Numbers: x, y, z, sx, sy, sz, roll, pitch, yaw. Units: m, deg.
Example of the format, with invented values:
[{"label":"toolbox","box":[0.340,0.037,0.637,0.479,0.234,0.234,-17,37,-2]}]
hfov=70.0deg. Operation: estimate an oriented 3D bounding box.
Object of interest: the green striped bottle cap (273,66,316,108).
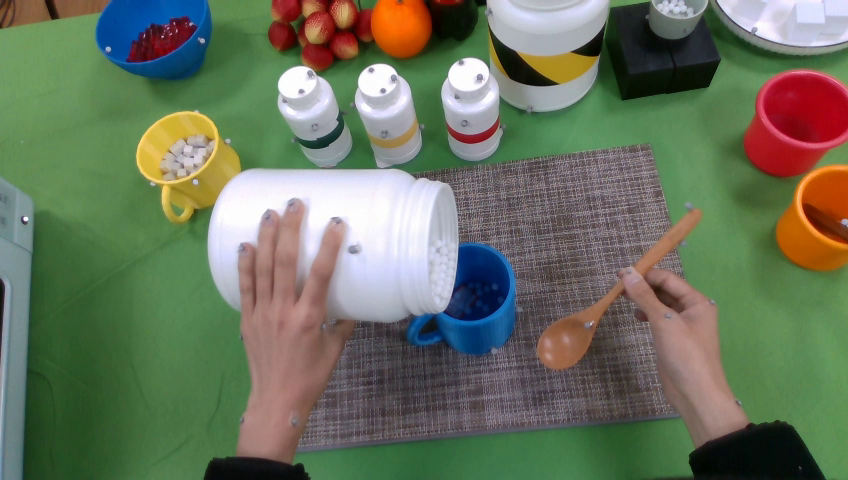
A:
[{"label":"green striped bottle cap","box":[-0.140,-0.166,0.653,0.044,0.020,0.044,-2,65,5]}]

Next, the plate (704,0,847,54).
[{"label":"plate","box":[0.445,-0.307,0.742,0.209,0.038,0.207,-3,67,6]}]

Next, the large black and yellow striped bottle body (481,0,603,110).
[{"label":"large black and yellow striped bottle body","box":[0.130,-0.249,0.677,0.130,0.185,0.130,-3,66,7]}]

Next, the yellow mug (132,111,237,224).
[{"label":"yellow mug","box":[-0.288,-0.082,0.723,0.100,0.064,0.130,2,67,8]}]

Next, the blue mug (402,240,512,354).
[{"label":"blue mug","box":[0.031,0.067,0.591,0.116,0.107,0.081,-31,65,-6]}]

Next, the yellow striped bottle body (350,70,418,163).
[{"label":"yellow striped bottle body","box":[-0.046,-0.145,0.689,0.063,0.121,0.062,-3,65,7]}]

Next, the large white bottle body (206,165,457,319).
[{"label":"large white bottle body","box":[-0.072,0.001,0.520,0.184,0.132,0.129,1,66,15]}]

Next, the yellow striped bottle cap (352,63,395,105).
[{"label":"yellow striped bottle cap","box":[-0.054,-0.166,0.642,0.044,0.019,0.044,-1,62,2]}]

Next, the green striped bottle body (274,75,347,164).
[{"label":"green striped bottle body","box":[-0.132,-0.144,0.701,0.063,0.120,0.062,-3,66,6]}]

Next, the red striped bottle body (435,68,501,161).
[{"label":"red striped bottle body","box":[0.049,-0.146,0.678,0.063,0.121,0.062,-5,63,11]}]

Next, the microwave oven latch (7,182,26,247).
[{"label":"microwave oven latch","box":[-0.495,-0.028,0.721,0.030,0.030,0.078,-14,66,1]}]

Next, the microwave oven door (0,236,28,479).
[{"label":"microwave oven door","box":[-0.458,0.124,0.539,0.039,0.246,0.352,-16,65,1]}]

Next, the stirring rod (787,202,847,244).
[{"label":"stirring rod","box":[0.390,-0.004,0.562,0.014,0.006,0.175,-5,23,3]}]

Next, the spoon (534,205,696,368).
[{"label":"spoon","box":[0.168,0.044,0.539,0.041,0.022,0.194,50,115,25]}]

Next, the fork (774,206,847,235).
[{"label":"fork","box":[0.420,-0.006,0.552,0.028,0.019,0.205,-44,24,-11]}]

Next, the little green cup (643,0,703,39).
[{"label":"little green cup","box":[0.279,-0.261,0.687,0.061,0.039,0.061,-2,64,4]}]

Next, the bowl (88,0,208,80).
[{"label":"bowl","box":[-0.350,-0.269,0.806,0.151,0.077,0.150,-2,66,6]}]

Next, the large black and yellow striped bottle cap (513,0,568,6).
[{"label":"large black and yellow striped bottle cap","box":[0.119,-0.282,0.598,0.115,0.019,0.114,-4,67,9]}]

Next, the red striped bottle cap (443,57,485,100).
[{"label":"red striped bottle cap","box":[0.041,-0.169,0.630,0.044,0.018,0.044,-1,64,3]}]

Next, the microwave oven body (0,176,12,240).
[{"label":"microwave oven body","box":[-0.608,0.127,0.562,0.326,0.262,0.438,-15,66,0]}]
